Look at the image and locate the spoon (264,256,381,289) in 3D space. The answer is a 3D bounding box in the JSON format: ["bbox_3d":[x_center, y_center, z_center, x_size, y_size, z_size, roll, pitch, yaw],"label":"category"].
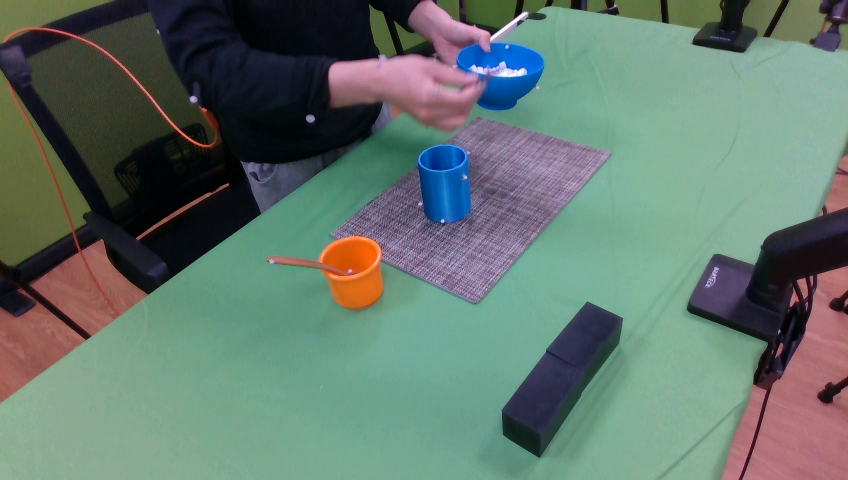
[{"bbox_3d":[-0.136,0.041,0.842,0.021,0.195,0.041,-55,47,13],"label":"spoon"}]

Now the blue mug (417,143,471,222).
[{"bbox_3d":[0.031,-0.105,1.014,0.082,0.106,0.115,-14,41,-7],"label":"blue mug"}]

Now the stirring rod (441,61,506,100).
[{"bbox_3d":[0.059,-0.201,0.774,0.014,0.006,0.175,-41,14,-16],"label":"stirring rod"}]

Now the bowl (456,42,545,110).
[{"bbox_3d":[0.128,-0.277,1.042,0.151,0.077,0.150,1,39,-1],"label":"bowl"}]
